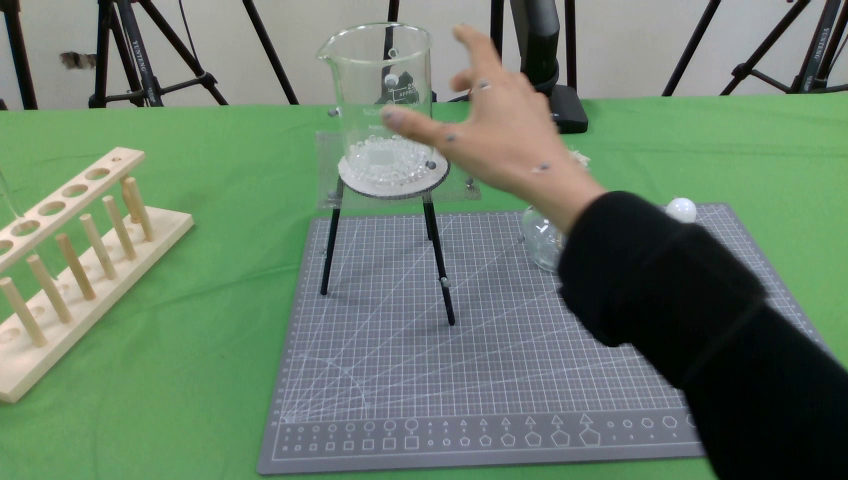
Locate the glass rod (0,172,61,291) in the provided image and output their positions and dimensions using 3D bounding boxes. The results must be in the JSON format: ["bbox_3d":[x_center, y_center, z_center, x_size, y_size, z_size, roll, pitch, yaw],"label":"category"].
[{"bbox_3d":[-0.344,-0.038,0.500,0.008,0.201,0.008,-4,33,3],"label":"glass rod"}]

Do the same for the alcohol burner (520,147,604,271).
[{"bbox_3d":[0.129,-0.031,0.557,0.078,0.120,0.077,-1,37,1],"label":"alcohol burner"}]

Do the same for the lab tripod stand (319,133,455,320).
[{"bbox_3d":[-0.026,-0.013,0.523,0.148,0.133,0.147,-1,41,2],"label":"lab tripod stand"}]

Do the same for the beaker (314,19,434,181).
[{"bbox_3d":[-0.033,-0.101,0.450,0.084,0.101,0.073,-6,39,-4],"label":"beaker"}]

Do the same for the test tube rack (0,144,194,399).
[{"bbox_3d":[-0.315,0.014,0.541,0.066,0.086,0.241,11,41,14],"label":"test tube rack"}]

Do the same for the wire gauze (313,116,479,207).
[{"bbox_3d":[-0.027,-0.063,0.481,0.125,0.011,0.120,-7,37,-3],"label":"wire gauze"}]

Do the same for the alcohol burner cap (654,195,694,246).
[{"bbox_3d":[0.248,-0.022,0.599,0.034,0.048,0.033,-1,39,1],"label":"alcohol burner cap"}]
